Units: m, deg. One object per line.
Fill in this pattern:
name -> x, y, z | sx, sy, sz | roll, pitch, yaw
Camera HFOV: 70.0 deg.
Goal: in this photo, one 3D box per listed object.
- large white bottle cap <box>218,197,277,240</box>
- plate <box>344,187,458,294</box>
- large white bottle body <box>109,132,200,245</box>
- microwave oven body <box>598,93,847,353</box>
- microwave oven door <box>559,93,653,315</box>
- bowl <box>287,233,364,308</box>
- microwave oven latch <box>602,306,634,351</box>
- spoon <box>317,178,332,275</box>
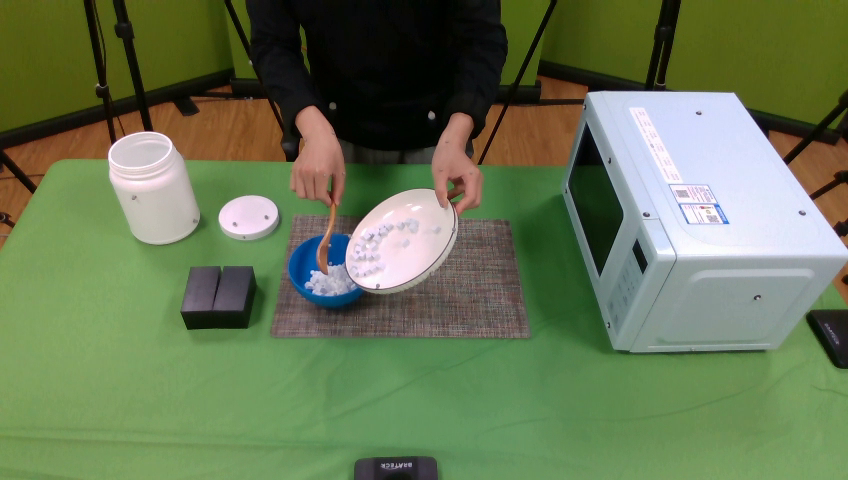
large white bottle cap -> -0.354, -0.045, 1.220 | 0.115, 0.018, 0.114 | 2, 45, -2
plate -> -0.036, 0.004, 0.995 | 0.209, 0.038, 0.208 | -19, 45, 20
large white bottle body -> -0.506, -0.097, 1.141 | 0.131, 0.185, 0.130 | 2, 46, -2
microwave oven body -> 0.475, -0.041, 1.109 | 0.326, 0.261, 0.438 | -1, 45, -4
microwave oven door -> 0.327, -0.075, 1.123 | 0.039, 0.245, 0.353 | -1, 46, -5
bowl -> -0.165, 0.068, 1.078 | 0.151, 0.077, 0.150 | 3, 45, -3
microwave oven latch -> 0.332, 0.153, 1.044 | 0.030, 0.029, 0.078 | 0, 45, -4
spoon -> -0.171, -0.027, 1.053 | 0.021, 0.042, 0.192 | -12, 61, 16
